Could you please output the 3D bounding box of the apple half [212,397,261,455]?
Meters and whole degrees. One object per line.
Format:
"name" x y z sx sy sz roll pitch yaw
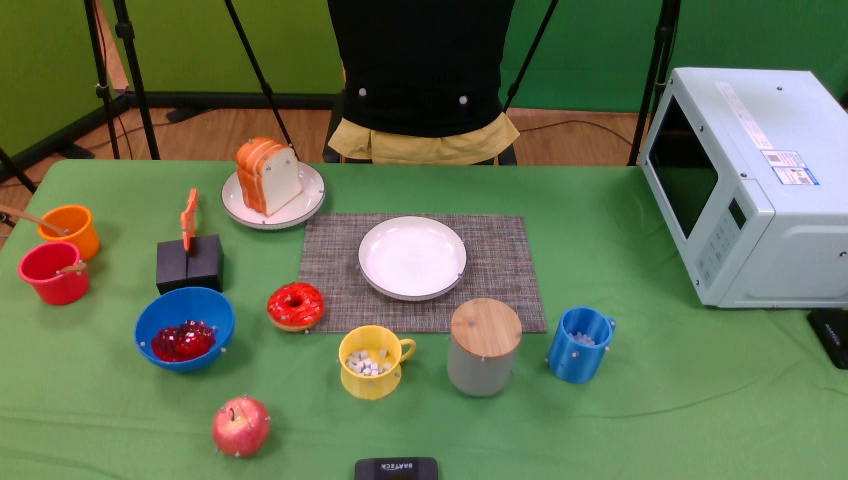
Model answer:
"apple half" -0.276 0.276 0.877 0.053 0.075 0.080 -29 58 -21

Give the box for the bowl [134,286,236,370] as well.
"bowl" -0.377 0.155 0.981 0.151 0.077 0.150 2 46 -2

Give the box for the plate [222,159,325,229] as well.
"plate" -0.307 -0.095 1.251 0.209 0.038 0.208 2 46 -2

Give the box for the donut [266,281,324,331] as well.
"donut" -0.222 0.114 1.049 0.099 0.048 0.098 2 45 -2

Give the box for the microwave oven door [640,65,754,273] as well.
"microwave oven door" 0.523 -0.147 1.193 0.039 0.245 0.353 0 47 -3

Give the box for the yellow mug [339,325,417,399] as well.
"yellow mug" -0.072 0.191 0.978 0.131 0.064 0.099 -17 49 -20

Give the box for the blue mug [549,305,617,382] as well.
"blue mug" 0.269 0.166 0.998 0.116 0.106 0.082 -19 51 -21

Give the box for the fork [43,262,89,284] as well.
"fork" -0.599 0.053 1.013 0.207 0.019 0.028 -14 30 45

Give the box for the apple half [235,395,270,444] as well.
"apple half" -0.245 0.259 0.893 0.033 0.082 0.081 -29 55 -22

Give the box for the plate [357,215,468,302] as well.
"plate" -0.022 0.037 1.141 0.208 0.039 0.206 2 46 -2

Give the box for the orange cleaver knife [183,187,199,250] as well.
"orange cleaver knife" -0.445 -0.045 1.163 0.012 0.077 0.210 -5 23 -13

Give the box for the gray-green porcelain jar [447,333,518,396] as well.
"gray-green porcelain jar" 0.091 0.178 0.960 0.106 0.127 0.105 2 46 -2

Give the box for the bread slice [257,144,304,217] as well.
"bread slice" -0.290 -0.124 1.205 0.018 0.135 0.107 25 53 23

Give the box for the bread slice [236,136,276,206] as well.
"bread slice" -0.332 -0.147 1.225 0.019 0.132 0.105 25 47 26

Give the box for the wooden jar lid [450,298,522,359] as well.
"wooden jar lid" 0.093 0.135 0.914 0.108 0.021 0.107 2 48 -3

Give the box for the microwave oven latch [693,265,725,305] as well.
"microwave oven latch" 0.523 0.082 1.115 0.030 0.029 0.078 2 46 -1

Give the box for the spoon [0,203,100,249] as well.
"spoon" -0.684 -0.031 1.088 0.021 0.195 0.041 -36 43 25

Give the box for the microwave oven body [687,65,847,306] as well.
"microwave oven body" 0.669 -0.111 1.176 0.326 0.261 0.439 0 46 -3
